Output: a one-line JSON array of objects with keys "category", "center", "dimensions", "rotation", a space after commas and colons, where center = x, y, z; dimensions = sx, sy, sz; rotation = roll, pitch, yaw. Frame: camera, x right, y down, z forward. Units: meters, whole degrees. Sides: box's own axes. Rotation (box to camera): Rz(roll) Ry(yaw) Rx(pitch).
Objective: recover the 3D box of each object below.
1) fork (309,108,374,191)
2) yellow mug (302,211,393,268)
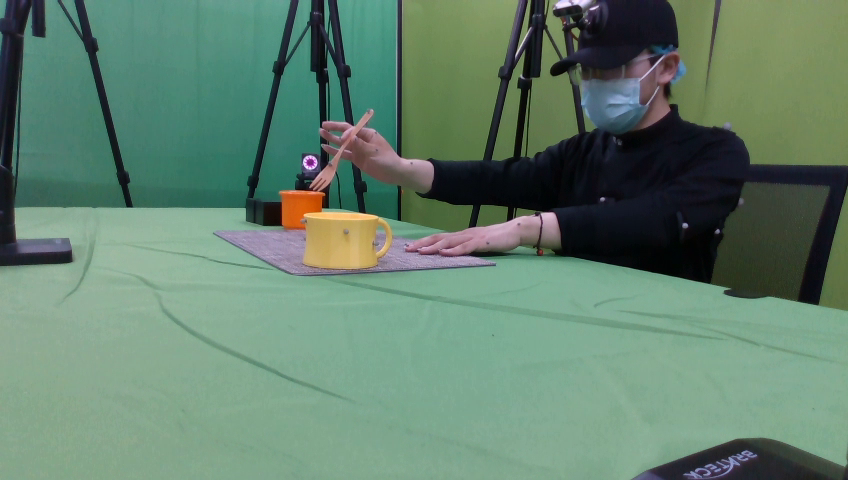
[{"category": "fork", "center": [-0.146, -0.168, 1.103], "dimensions": [0.028, 0.207, 0.018], "rotation": [23, -23, 17]}, {"category": "yellow mug", "center": [-0.098, -0.003, 0.810], "dimensions": [0.131, 0.064, 0.099], "rotation": [-2, 8, -37]}]
